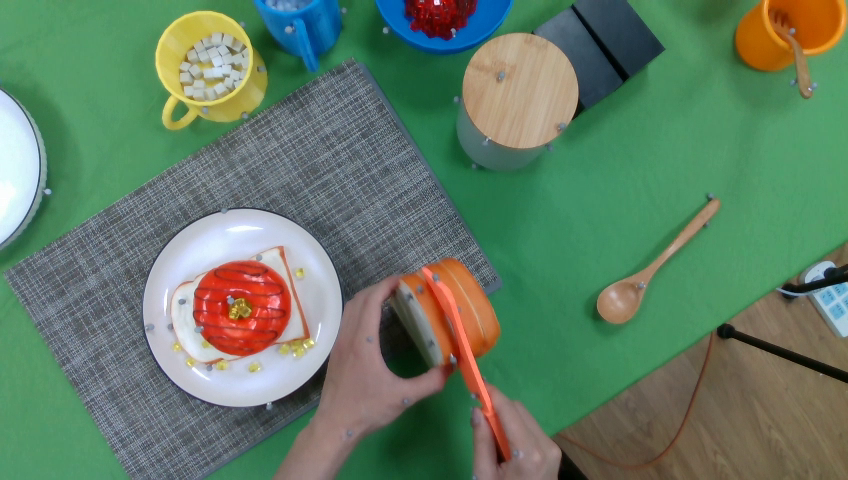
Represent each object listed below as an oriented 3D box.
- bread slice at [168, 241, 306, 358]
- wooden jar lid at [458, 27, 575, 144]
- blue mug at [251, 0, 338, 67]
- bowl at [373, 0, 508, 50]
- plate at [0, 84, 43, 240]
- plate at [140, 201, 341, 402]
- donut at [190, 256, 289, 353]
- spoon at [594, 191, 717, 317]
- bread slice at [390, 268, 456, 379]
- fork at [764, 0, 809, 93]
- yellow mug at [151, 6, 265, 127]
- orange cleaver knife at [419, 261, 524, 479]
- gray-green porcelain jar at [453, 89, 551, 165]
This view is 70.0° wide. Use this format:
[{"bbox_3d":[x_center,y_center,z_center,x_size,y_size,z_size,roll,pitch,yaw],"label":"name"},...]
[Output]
[{"bbox_3d":[-0.203,0.070,0.648,0.131,0.019,0.104,-20,87,-7],"label":"bread slice"},{"bbox_3d":[0.085,-0.142,0.562,0.108,0.020,0.108,0,88,-5],"label":"wooden jar lid"},{"bbox_3d":[-0.134,-0.240,0.634,0.082,0.106,0.116,-13,87,-2],"label":"blue mug"},{"bbox_3d":[0.016,-0.270,0.654,0.151,0.077,0.151,0,87,-2],"label":"bowl"},{"bbox_3d":[-0.508,-0.081,0.645,0.208,0.039,0.207,0,87,-2],"label":"plate"},{"bbox_3d":[-0.190,0.064,0.645,0.209,0.038,0.208,0,87,-2],"label":"plate"},{"bbox_3d":[-0.187,0.065,0.617,0.099,0.048,0.099,0,87,-5],"label":"donut"},{"bbox_3d":[0.262,0.013,0.675,0.193,0.022,0.041,-44,71,-3],"label":"spoon"},{"bbox_3d":[-0.002,0.078,0.600,0.018,0.135,0.106,-26,73,-13],"label":"bread slice"},{"bbox_3d":[0.376,-0.205,0.627,0.028,0.019,0.206,30,42,-6],"label":"fork"},{"bbox_3d":[-0.237,-0.175,0.646,0.100,0.064,0.131,36,87,1],"label":"yellow mug"},{"bbox_3d":[0.041,0.118,0.553,0.012,0.077,0.212,-24,100,-12],"label":"orange cleaver knife"},{"bbox_3d":[0.084,-0.137,0.625,0.106,0.126,0.105,0,86,-2],"label":"gray-green porcelain jar"}]
